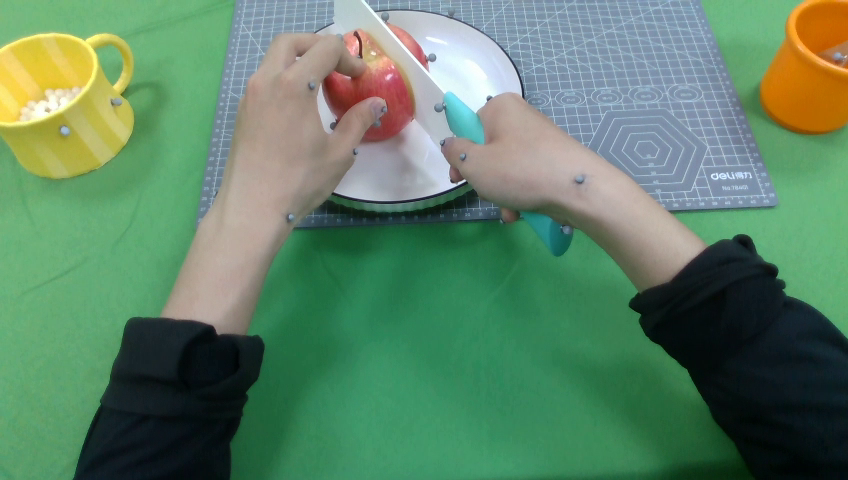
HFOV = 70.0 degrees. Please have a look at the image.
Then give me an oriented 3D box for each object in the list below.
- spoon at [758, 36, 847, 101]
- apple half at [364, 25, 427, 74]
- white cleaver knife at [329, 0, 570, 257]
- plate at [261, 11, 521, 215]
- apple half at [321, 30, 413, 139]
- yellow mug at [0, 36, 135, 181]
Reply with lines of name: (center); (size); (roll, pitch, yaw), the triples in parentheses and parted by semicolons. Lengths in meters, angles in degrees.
spoon: (0.357, -0.168, 0.463); (0.022, 0.194, 0.041); (22, 48, -37)
apple half: (-0.018, -0.135, 0.486); (0.033, 0.082, 0.080); (-32, 64, -19)
white cleaver knife: (0.007, -0.095, 0.443); (0.021, 0.066, 0.284); (-30, 67, -18)
plate: (-0.026, -0.105, 0.498); (0.209, 0.038, 0.207); (0, 60, 1)
apple half: (-0.050, -0.114, 0.472); (0.053, 0.075, 0.080); (-37, 67, -12)
yellow mug: (-0.293, -0.118, 0.500); (0.099, 0.064, 0.130); (28, 63, 17)
